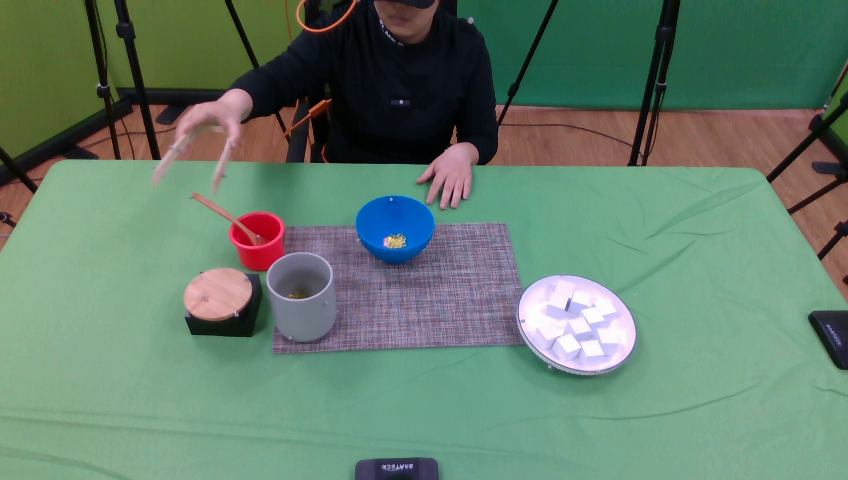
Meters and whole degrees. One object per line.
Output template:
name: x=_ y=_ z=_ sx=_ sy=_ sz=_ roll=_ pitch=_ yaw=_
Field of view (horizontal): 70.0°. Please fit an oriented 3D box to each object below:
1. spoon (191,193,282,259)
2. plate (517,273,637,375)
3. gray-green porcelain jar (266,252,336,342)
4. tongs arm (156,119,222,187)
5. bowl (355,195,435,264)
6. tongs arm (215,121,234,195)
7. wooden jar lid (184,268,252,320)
spoon: x=-0.342 y=-0.027 z=1.115 sx=0.194 sy=0.021 sz=0.041 roll=43 pitch=39 yaw=-24
plate: x=0.264 y=0.149 z=1.060 sx=0.209 sy=0.038 sz=0.208 roll=3 pitch=46 yaw=-3
gray-green porcelain jar: x=-0.202 y=0.100 z=1.009 sx=0.106 sy=0.127 sz=0.105 roll=2 pitch=46 yaw=-2
tongs arm: x=-0.389 y=-0.155 z=1.026 sx=0.051 sy=0.026 sz=0.382 roll=6 pitch=21 yaw=-15
bowl: x=-0.056 y=-0.008 z=1.158 sx=0.151 sy=0.077 sz=0.150 roll=2 pitch=46 yaw=-2
tongs arm: x=-0.344 y=-0.149 z=1.037 sx=0.028 sy=0.028 sz=0.385 roll=2 pitch=22 yaw=-16
wooden jar lid: x=-0.343 y=0.092 z=1.015 sx=0.108 sy=0.021 sz=0.107 roll=3 pitch=46 yaw=-3
